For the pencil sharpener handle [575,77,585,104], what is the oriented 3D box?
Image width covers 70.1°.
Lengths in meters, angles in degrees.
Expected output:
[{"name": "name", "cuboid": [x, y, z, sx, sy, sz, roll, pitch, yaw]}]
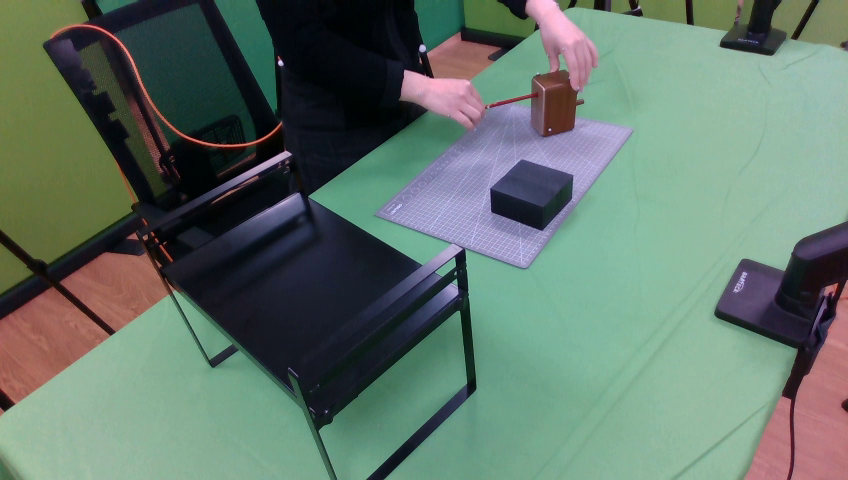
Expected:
[{"name": "pencil sharpener handle", "cuboid": [0.303, -0.293, 1.181, 0.031, 0.068, 0.035, -15, 54, -8]}]

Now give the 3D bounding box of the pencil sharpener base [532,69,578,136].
[{"name": "pencil sharpener base", "cuboid": [0.256, -0.268, 1.179, 0.077, 0.107, 0.061, -15, 41, -9]}]

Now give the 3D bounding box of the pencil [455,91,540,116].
[{"name": "pencil", "cuboid": [0.150, -0.260, 1.134, 0.194, 0.012, 0.012, -16, 41, -10]}]
